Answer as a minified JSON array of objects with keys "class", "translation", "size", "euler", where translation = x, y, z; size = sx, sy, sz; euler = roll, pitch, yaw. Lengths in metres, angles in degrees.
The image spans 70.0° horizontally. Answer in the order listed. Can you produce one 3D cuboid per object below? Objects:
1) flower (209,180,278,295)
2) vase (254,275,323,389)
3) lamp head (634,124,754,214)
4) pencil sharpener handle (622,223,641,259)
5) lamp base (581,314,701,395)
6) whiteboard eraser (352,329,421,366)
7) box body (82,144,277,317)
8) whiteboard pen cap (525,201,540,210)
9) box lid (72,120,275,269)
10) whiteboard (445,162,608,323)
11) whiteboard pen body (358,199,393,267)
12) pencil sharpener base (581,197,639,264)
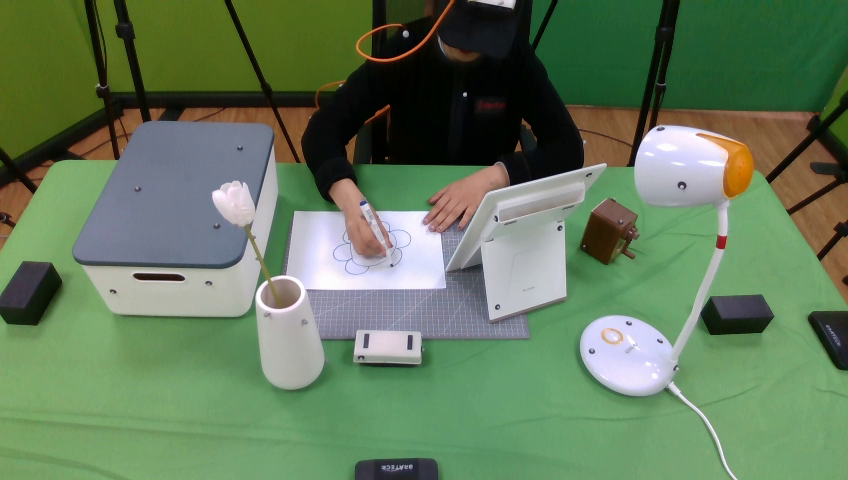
[{"class":"flower","translation":[-0.216,0.075,0.871],"size":[0.044,0.363,0.038],"euler":[-29,36,-19]},{"class":"vase","translation":[-0.209,0.143,0.921],"size":[0.098,0.201,0.097],"euler":[1,46,-1]},{"class":"lamp head","translation":[0.351,-0.089,0.776],"size":[0.112,0.113,0.122],"euler":[-30,30,-28]},{"class":"pencil sharpener handle","translation":[0.397,0.003,1.146],"size":[0.030,0.068,0.036],"euler":[37,46,27]},{"class":"lamp base","translation":[0.361,0.144,0.973],"size":[0.178,0.181,0.160],"euler":[34,53,23]},{"class":"whiteboard eraser","translation":[-0.061,0.180,1.005],"size":[0.113,0.042,0.055],"euler":[3,48,-3]},{"class":"box body","translation":[-0.421,-0.041,1.108],"size":[0.254,0.161,0.361],"euler":[2,46,-3]},{"class":"whiteboard pen cap","translation":[0.230,-0.074,1.289],"size":[0.033,0.018,0.018],"euler":[5,46,3]},{"class":"box lid","translation":[-0.417,-0.094,1.056],"size":[0.263,0.015,0.369],"euler":[1,47,-3]},{"class":"whiteboard","translation":[0.186,0.025,1.029],"size":[0.217,0.306,0.143],"euler":[-14,68,-17]},{"class":"whiteboard pen body","translation":[-0.088,-0.011,1.134],"size":[0.017,0.141,0.017],"euler":[-22,17,7]},{"class":"pencil sharpener base","translation":[0.362,-0.017,1.179],"size":[0.076,0.107,0.061],"euler":[37,54,27]}]
